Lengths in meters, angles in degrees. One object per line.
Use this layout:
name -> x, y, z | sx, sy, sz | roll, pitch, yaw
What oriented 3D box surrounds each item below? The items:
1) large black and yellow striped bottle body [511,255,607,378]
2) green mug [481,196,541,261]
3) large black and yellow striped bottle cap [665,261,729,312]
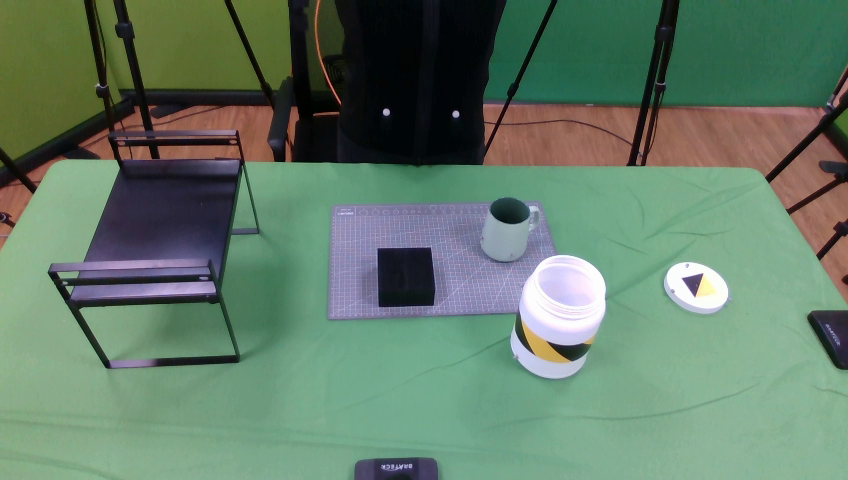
large black and yellow striped bottle body -> 0.218, 0.124, 0.981 | 0.131, 0.185, 0.130 | 2, 47, -2
green mug -> 0.174, -0.027, 1.173 | 0.125, 0.105, 0.092 | -22, 51, -22
large black and yellow striped bottle cap -> 0.518, 0.087, 1.152 | 0.115, 0.019, 0.114 | 2, 47, -2
